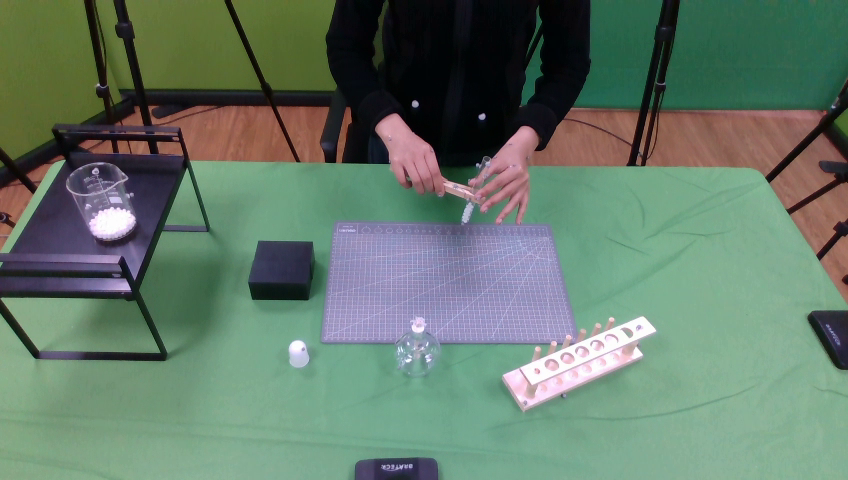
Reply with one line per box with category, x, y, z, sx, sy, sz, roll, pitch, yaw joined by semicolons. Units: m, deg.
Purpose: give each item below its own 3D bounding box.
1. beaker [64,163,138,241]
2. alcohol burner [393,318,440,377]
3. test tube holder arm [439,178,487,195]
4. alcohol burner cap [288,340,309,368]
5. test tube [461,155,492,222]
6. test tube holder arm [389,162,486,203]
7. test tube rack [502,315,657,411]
beaker;-0.477;-0.055;0.910;0.084;0.101;0.073;-9;47;-13
alcohol burner;-0.011;0.166;0.971;0.078;0.120;0.077;1;45;-1
test tube holder arm;0.067;-0.091;1.056;0.088;0.015;0.010;14;45;1
alcohol burner cap;-0.207;0.183;0.991;0.034;0.048;0.033;3;46;-3
test tube;0.089;-0.086;1.046;0.017;0.151;0.017;8;45;-8
test tube holder arm;0.022;-0.101;1.056;0.178;0.015;0.013;20;44;7
test tube rack;0.253;0.186;0.988;0.242;0.085;0.066;-18;50;-20
